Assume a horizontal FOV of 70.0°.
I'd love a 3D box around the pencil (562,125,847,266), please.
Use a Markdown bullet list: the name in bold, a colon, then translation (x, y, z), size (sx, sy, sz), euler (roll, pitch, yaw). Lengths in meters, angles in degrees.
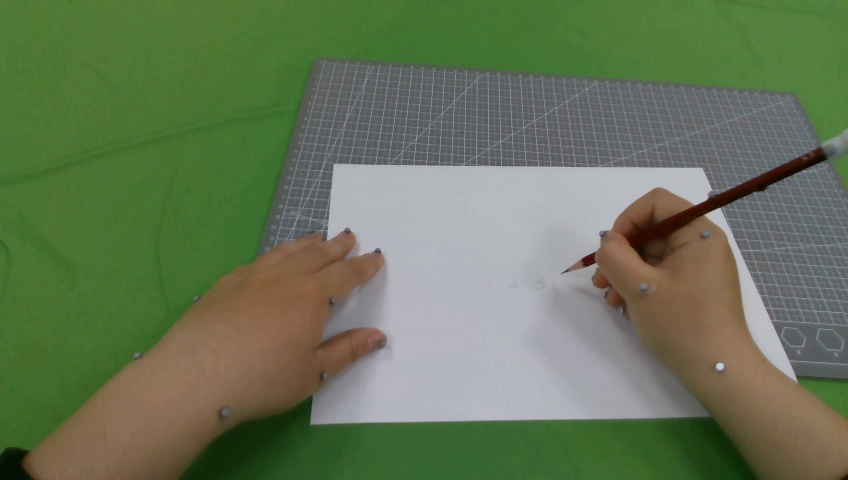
- **pencil**: translation (0.153, -0.019, 0.341), size (0.012, 0.194, 0.012), euler (20, 56, -33)
